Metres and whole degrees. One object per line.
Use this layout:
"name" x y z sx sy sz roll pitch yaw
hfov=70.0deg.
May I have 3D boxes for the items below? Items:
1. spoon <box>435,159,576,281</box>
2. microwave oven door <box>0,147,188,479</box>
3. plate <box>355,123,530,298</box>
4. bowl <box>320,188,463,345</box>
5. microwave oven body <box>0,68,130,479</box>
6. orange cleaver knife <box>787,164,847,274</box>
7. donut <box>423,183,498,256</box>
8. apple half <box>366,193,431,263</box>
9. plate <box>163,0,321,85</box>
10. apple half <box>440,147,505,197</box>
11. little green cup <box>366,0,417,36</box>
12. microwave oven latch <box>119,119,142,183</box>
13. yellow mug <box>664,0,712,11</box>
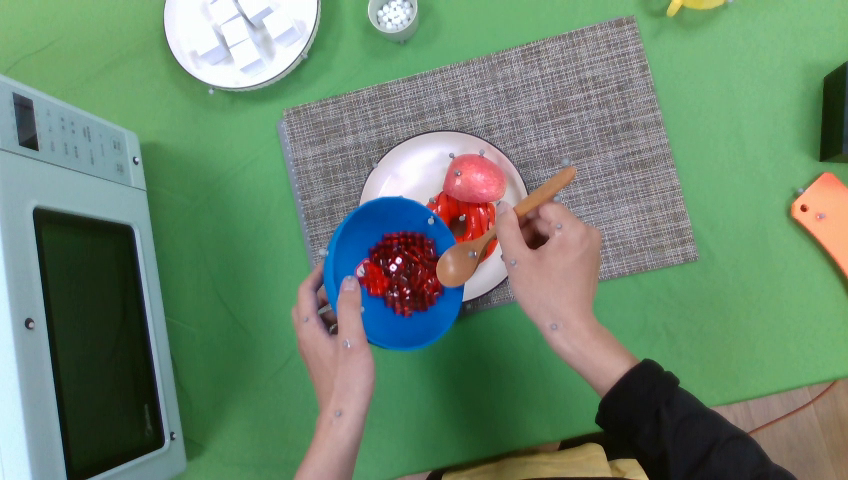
"spoon" 0.066 -0.015 0.543 0.022 0.194 0.041 0 63 -32
"microwave oven door" -0.356 0.096 0.648 0.039 0.244 0.355 -12 84 7
"plate" 0.022 -0.033 0.722 0.209 0.038 0.208 -1 86 8
"bowl" -0.043 0.031 0.603 0.152 0.076 0.150 8 76 -33
"microwave oven body" -0.505 0.084 0.675 0.326 0.261 0.440 -12 85 7
"orange cleaver knife" 0.482 0.016 0.667 0.077 0.012 0.210 -29 81 0
"donut" 0.038 -0.021 0.708 0.099 0.048 0.099 0 89 8
"apple half" -0.037 -0.012 0.697 0.074 0.054 0.080 -15 81 47
"plate" -0.229 -0.297 0.777 0.207 0.039 0.207 -1 86 8
"apple half" 0.058 -0.084 0.693 0.081 0.033 0.080 2 47 -2
"little green cup" -0.038 -0.285 0.750 0.061 0.039 0.061 -1 86 8
"microwave oven latch" -0.381 -0.111 0.767 0.030 0.029 0.079 -10 86 7
"yellow mug" 0.313 -0.319 0.688 0.099 0.064 0.131 34 92 9
